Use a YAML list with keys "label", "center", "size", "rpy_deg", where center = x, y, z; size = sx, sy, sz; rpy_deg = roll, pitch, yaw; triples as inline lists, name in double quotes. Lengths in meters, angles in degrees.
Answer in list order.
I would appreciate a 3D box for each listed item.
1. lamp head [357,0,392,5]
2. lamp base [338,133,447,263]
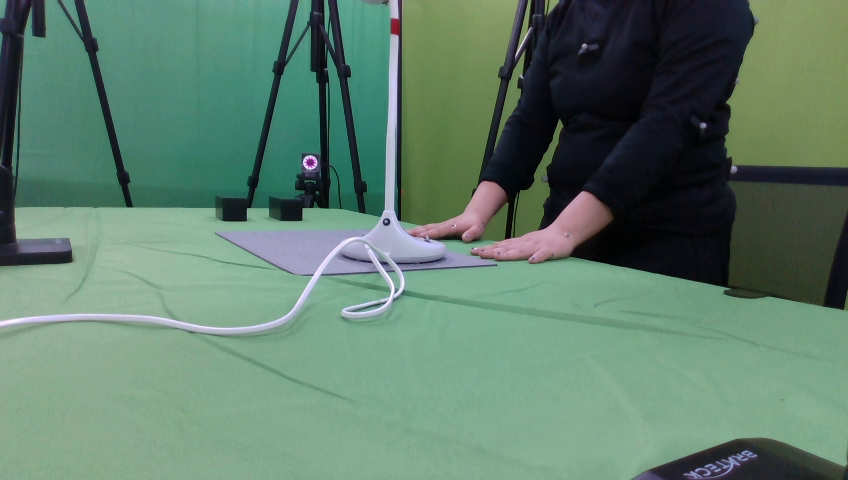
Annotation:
- label: "lamp head"
  center: [-0.056, -0.383, 0.819]
  size: [0.113, 0.112, 0.122]
  rpy_deg: [0, 13, -22]
- label: "lamp base"
  center: [-0.043, -0.062, 0.868]
  size: [0.161, 0.180, 0.179]
  rpy_deg: [2, 10, -3]
